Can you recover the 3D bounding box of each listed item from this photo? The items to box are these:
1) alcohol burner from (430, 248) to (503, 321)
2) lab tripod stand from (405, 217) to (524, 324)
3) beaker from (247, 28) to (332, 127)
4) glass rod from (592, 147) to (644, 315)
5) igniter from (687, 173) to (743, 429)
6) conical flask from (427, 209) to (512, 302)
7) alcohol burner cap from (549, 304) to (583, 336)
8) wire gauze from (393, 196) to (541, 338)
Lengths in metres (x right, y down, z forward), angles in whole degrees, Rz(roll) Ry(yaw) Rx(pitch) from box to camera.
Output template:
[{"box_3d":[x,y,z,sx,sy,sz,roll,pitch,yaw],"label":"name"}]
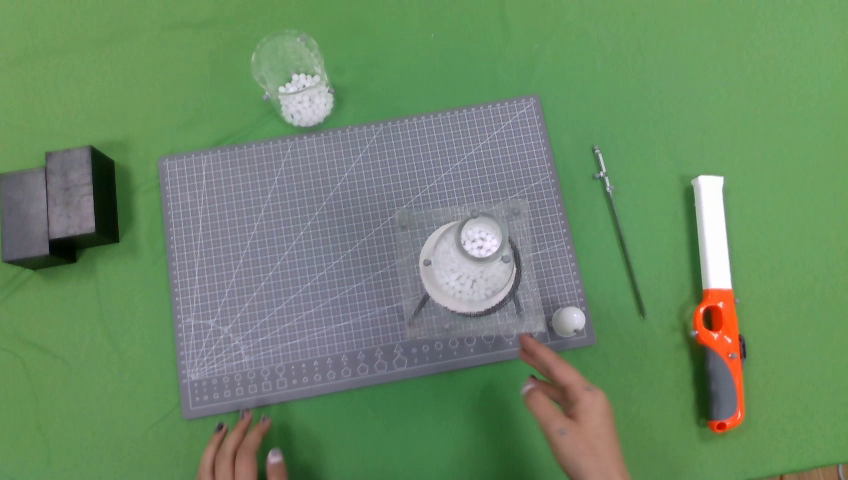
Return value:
[{"box_3d":[0.042,0.043,0.616,0.078,0.119,0.077,-1,78,3],"label":"alcohol burner"},{"box_3d":[0.041,0.039,0.606,0.148,0.132,0.148,0,80,1],"label":"lab tripod stand"},{"box_3d":[-0.141,-0.174,0.672,0.084,0.100,0.074,25,80,5],"label":"beaker"},{"box_3d":[0.217,-0.013,0.683,0.008,0.008,0.198,-12,78,-2],"label":"glass rod"},{"box_3d":[0.313,0.062,0.657,0.057,0.025,0.275,3,78,-10],"label":"igniter"},{"box_3d":[0.040,0.008,0.485,0.075,0.122,0.075,0,80,0],"label":"conical flask"},{"box_3d":[0.153,0.083,0.643,0.034,0.048,0.033,0,78,0],"label":"alcohol burner cap"},{"box_3d":[0.038,0.024,0.542,0.125,0.011,0.121,-4,81,-2],"label":"wire gauze"}]
